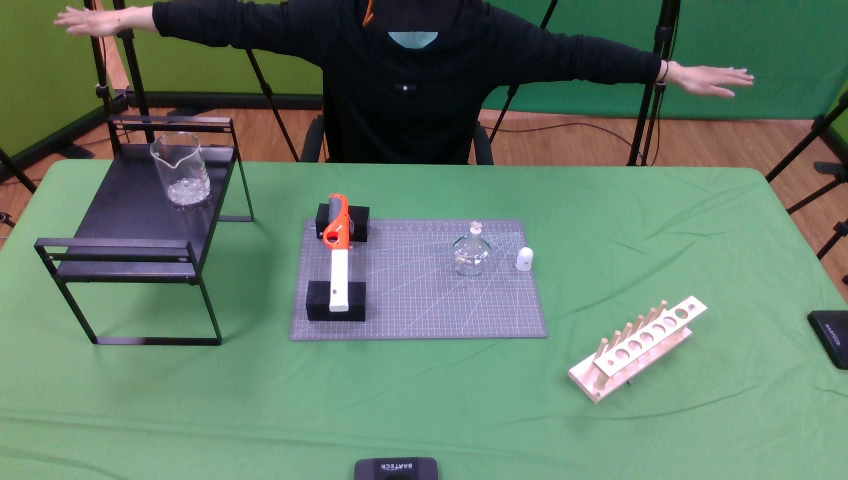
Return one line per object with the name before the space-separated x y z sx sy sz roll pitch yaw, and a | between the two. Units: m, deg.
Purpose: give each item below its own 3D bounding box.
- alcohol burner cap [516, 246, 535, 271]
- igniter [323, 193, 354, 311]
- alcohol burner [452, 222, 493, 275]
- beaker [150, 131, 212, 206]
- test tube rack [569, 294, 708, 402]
alcohol burner cap | 0.195 0.032 1.158 0.034 0.048 0.033 2 45 -2
igniter | -0.155 0.012 1.098 0.057 0.025 0.274 -2 48 -7
alcohol burner | 0.091 0.009 1.124 0.078 0.119 0.077 2 48 -2
beaker | -0.385 -0.110 0.969 0.074 0.101 0.083 -6 48 -9
test tube rack | 0.360 0.167 1.015 0.242 0.085 0.066 -25 52 -25
